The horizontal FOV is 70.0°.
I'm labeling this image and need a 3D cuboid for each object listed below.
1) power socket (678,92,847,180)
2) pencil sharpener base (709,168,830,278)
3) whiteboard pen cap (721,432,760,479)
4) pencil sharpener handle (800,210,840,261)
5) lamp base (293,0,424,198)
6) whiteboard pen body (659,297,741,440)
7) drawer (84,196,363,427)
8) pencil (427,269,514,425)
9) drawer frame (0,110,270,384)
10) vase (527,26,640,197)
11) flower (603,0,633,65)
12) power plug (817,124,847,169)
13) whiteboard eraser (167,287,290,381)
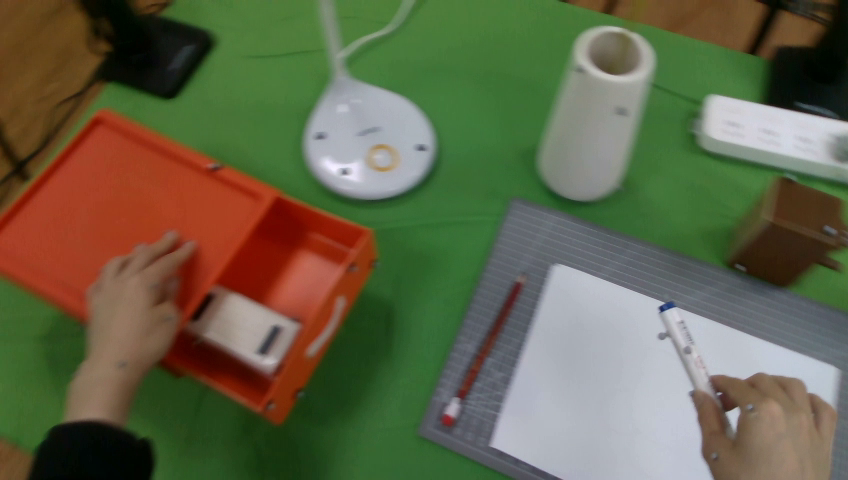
[{"bbox_3d":[0.431,-0.129,0.742,0.226,0.033,0.072,14,65,7],"label":"power socket"},{"bbox_3d":[0.365,-0.014,0.642,0.076,0.108,0.061,21,65,11],"label":"pencil sharpener base"},{"bbox_3d":[0.242,0.164,0.464,0.018,0.018,0.033,-16,71,-7],"label":"whiteboard pen cap"},{"bbox_3d":[0.411,-0.001,0.622,0.030,0.068,0.036,21,64,11],"label":"pencil sharpener handle"},{"bbox_3d":[-0.088,-0.165,0.680,0.160,0.182,0.177,-31,64,-15],"label":"lamp base"},{"bbox_3d":[0.225,0.112,0.484,0.017,0.017,0.139,-17,71,-8],"label":"whiteboard pen body"},{"bbox_3d":[-0.194,0.043,0.582,0.211,0.074,0.193,23,66,12],"label":"drawer"},{"bbox_3d":[0.053,0.106,0.635,0.012,0.012,0.193,26,64,14],"label":"pencil"},{"bbox_3d":[-0.291,0.003,0.600,0.213,0.083,0.201,25,66,7],"label":"drawer frame"},{"bbox_3d":[0.168,-0.131,0.651,0.098,0.201,0.097,-1,62,2],"label":"vase"},{"bbox_3d":[0.180,-0.182,0.585,0.038,0.364,0.043,8,45,-3],"label":"flower"},{"bbox_3d":[0.472,-0.103,0.703,0.035,0.053,0.072,23,67,12],"label":"power plug"},{"bbox_3d":[-0.185,0.087,0.575,0.112,0.042,0.055,20,60,18],"label":"whiteboard eraser"}]
